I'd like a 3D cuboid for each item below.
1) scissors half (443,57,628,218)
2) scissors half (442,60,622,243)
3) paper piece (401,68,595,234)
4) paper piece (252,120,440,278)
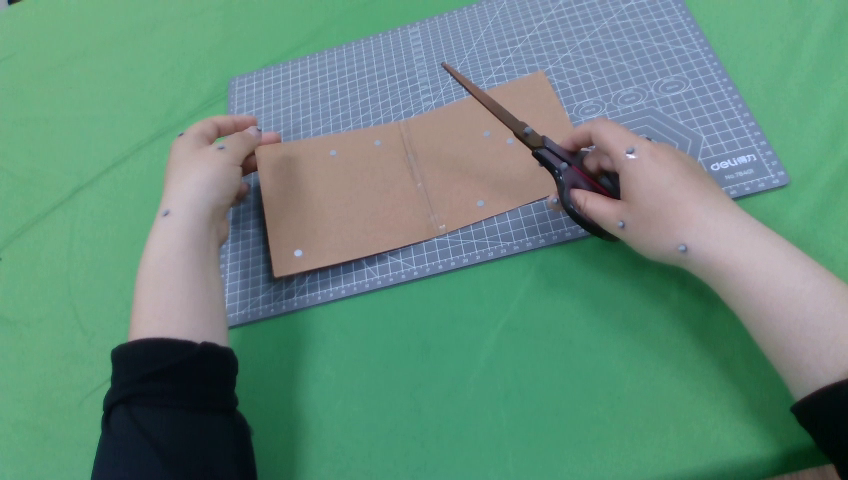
[{"bbox_3d":[0.082,-0.074,0.433,0.013,0.176,0.040,-38,23,46],"label":"scissors half"},{"bbox_3d":[0.075,-0.061,0.419,0.175,0.013,0.040,46,41,-4],"label":"scissors half"},{"bbox_3d":[0.057,-0.080,0.512,0.135,0.004,0.134,-21,55,5],"label":"paper piece"},{"bbox_3d":[-0.070,-0.041,0.510,0.138,0.009,0.134,-13,56,-6],"label":"paper piece"}]
